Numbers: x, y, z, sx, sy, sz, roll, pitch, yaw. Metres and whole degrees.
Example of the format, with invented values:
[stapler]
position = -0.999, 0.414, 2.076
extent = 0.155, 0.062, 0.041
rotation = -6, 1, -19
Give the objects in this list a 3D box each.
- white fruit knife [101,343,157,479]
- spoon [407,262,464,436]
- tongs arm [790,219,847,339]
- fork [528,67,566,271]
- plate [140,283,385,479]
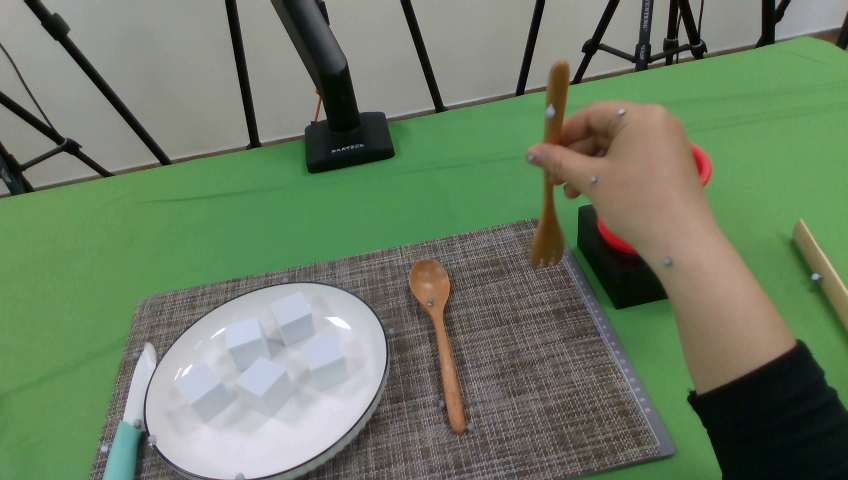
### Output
[white fruit knife]
position = -0.252, 0.164, 0.519
extent = 0.027, 0.016, 0.205
rotation = 11, 33, -21
[spoon]
position = 0.013, 0.090, 0.549
extent = 0.042, 0.022, 0.191
rotation = 4, 38, -13
[tongs arm]
position = 0.364, 0.113, 0.457
extent = 0.028, 0.028, 0.383
rotation = -3, 41, 4
[fork]
position = 0.089, -0.036, 0.431
extent = 0.028, 0.209, 0.018
rotation = -7, 49, 3
[plate]
position = -0.135, 0.122, 0.527
extent = 0.207, 0.039, 0.205
rotation = -5, 40, 5
